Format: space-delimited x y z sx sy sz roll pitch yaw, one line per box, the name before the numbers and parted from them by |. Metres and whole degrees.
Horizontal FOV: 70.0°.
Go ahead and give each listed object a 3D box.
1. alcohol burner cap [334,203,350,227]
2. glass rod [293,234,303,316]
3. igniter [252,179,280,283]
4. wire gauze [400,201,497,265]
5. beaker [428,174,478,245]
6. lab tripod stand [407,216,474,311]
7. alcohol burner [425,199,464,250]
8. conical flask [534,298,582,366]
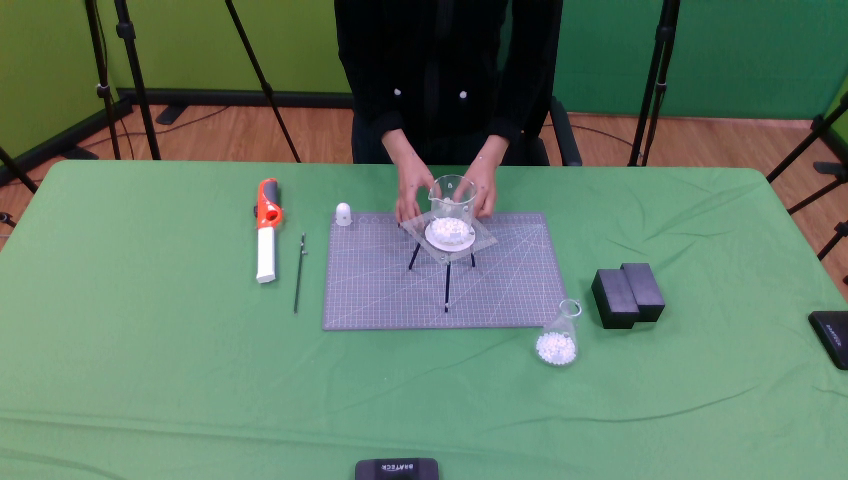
alcohol burner cap | -0.166 -0.053 1.220 0.034 0.048 0.033 2 46 -2
glass rod | -0.235 0.060 1.134 0.008 0.008 0.198 -1 47 -5
igniter | -0.313 -0.027 1.197 0.057 0.025 0.274 -12 47 -2
wire gauze | 0.042 -0.013 1.043 0.125 0.011 0.120 -24 49 -23
beaker | 0.043 -0.047 1.009 0.084 0.101 0.073 -16 48 -19
lab tripod stand | 0.039 0.030 1.092 0.148 0.132 0.147 2 44 -2
alcohol burner | 0.039 -0.032 1.167 0.078 0.120 0.077 1 47 -1
conical flask | 0.229 0.149 1.005 0.075 0.122 0.075 2 46 -2
